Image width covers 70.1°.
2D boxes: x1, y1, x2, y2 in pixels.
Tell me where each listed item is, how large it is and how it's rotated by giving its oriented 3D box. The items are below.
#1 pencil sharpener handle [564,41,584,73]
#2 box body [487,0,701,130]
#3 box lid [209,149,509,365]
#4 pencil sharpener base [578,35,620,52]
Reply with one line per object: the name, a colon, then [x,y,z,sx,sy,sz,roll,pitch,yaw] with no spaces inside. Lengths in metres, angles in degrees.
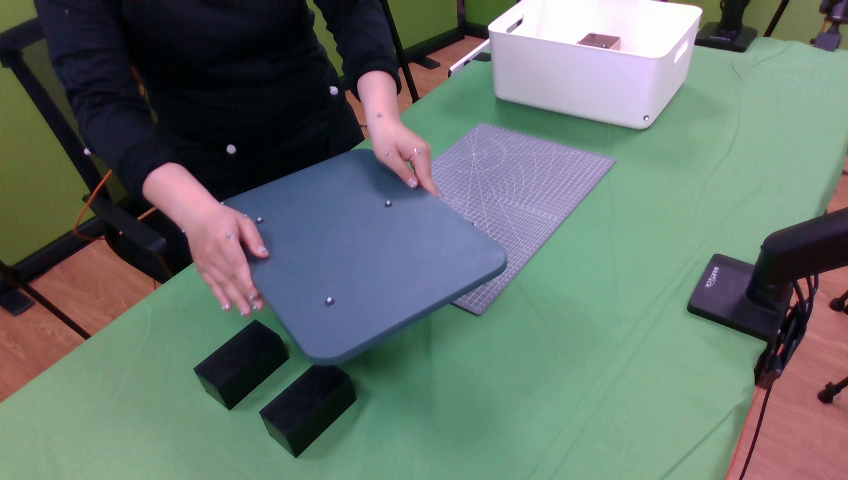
pencil sharpener handle: [0.318,-0.391,1.288,0.030,0.068,0.036,20,39,30]
box body: [0.345,-0.379,1.257,0.361,0.161,0.255,20,48,29]
box lid: [-0.097,-0.005,0.768,0.264,0.015,0.368,-27,42,-23]
pencil sharpener base: [0.362,-0.368,1.273,0.076,0.107,0.061,20,49,30]
